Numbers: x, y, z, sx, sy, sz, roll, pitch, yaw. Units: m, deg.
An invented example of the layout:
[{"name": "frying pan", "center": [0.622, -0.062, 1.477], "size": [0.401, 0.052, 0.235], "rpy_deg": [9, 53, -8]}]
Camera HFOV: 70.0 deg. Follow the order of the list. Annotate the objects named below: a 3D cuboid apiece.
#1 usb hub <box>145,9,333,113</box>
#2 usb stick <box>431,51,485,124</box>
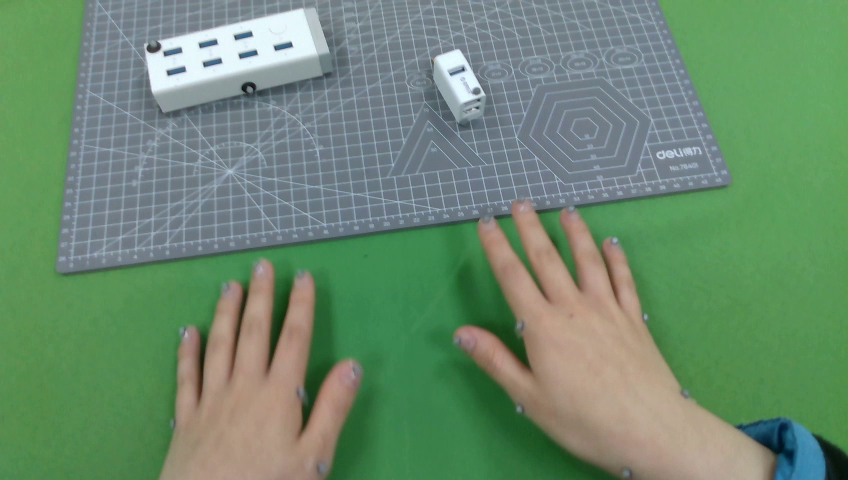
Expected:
[{"name": "usb hub", "center": [-0.133, -0.132, 0.440], "size": [0.125, 0.025, 0.049], "rpy_deg": [-15, 66, -9]}, {"name": "usb stick", "center": [0.022, -0.115, 0.435], "size": [0.021, 0.027, 0.058], "rpy_deg": [-22, 65, -9]}]
